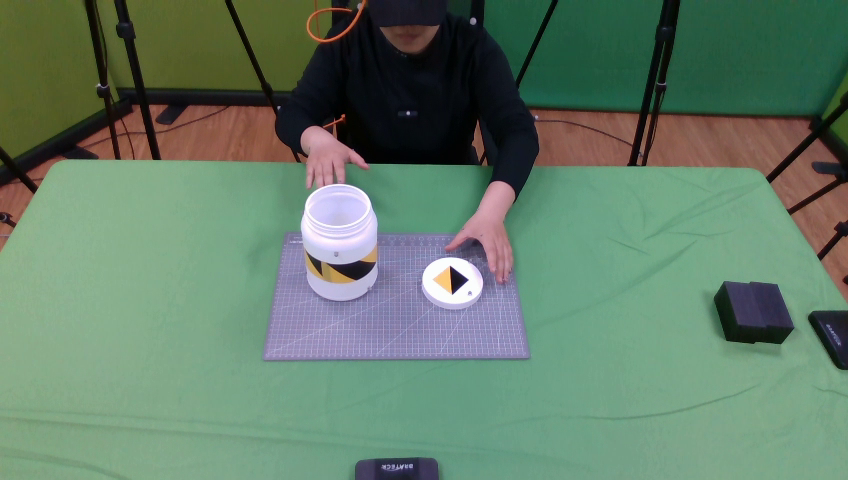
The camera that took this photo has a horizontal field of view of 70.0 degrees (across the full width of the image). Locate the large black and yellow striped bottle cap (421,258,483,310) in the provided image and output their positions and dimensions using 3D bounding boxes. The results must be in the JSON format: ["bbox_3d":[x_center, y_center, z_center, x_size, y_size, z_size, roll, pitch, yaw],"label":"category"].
[{"bbox_3d":[0.053,0.081,1.126,0.115,0.019,0.114,2,46,-1],"label":"large black and yellow striped bottle cap"}]

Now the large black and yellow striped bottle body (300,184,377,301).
[{"bbox_3d":[-0.148,0.004,1.067,0.131,0.185,0.130,2,46,-2],"label":"large black and yellow striped bottle body"}]
